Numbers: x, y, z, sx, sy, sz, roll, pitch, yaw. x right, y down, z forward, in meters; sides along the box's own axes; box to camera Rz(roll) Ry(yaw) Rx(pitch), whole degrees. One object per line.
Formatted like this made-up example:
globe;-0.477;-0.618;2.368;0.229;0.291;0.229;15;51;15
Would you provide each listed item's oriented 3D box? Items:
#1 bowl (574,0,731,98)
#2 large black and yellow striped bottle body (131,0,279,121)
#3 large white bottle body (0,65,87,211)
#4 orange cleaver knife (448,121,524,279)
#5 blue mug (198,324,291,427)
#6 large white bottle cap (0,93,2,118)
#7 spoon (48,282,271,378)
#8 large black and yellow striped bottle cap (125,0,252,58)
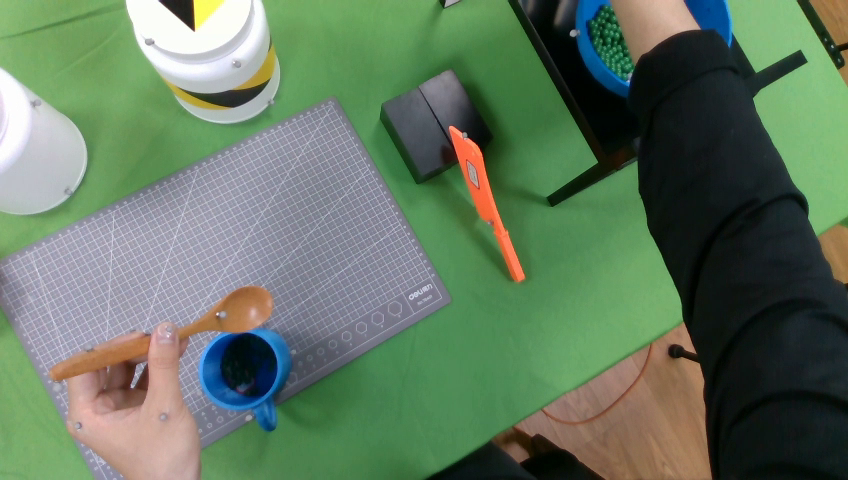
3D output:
bowl;0.209;-0.202;0.594;0.152;0.077;0.151;1;83;-8
large black and yellow striped bottle body;-0.234;-0.219;0.661;0.131;0.184;0.130;1;83;-7
large white bottle body;-0.448;-0.109;0.618;0.131;0.185;0.130;1;82;-7
orange cleaver knife;0.075;-0.045;0.734;0.012;0.076;0.213;-30;119;-11
blue mug;-0.186;0.148;0.662;0.082;0.106;0.116;-21;86;-10
large white bottle cap;-0.438;-0.120;0.534;0.115;0.018;0.114;1;83;-7
spoon;-0.188;0.067;0.463;0.021;0.194;0.042;9;102;24
large black and yellow striped bottle cap;-0.224;-0.232;0.579;0.115;0.019;0.114;1;84;-9
